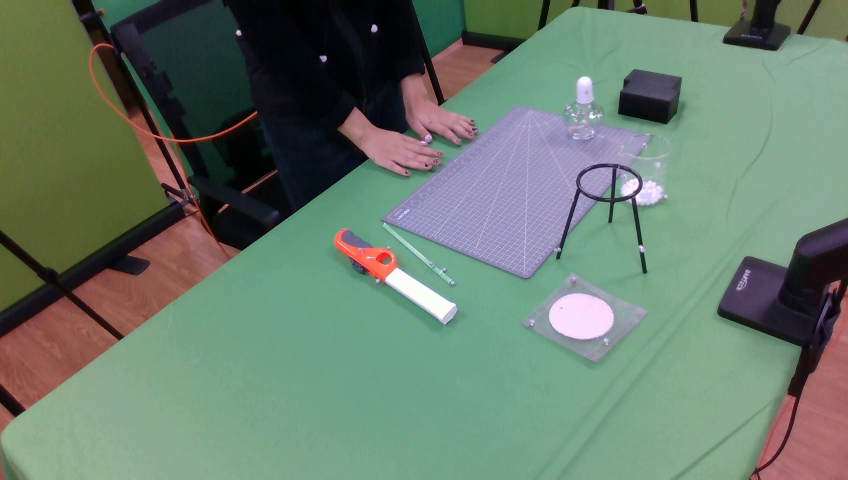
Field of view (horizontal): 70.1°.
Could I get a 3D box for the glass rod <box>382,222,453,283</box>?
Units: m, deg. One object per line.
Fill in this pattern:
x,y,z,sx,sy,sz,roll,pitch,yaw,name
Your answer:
-0.014,0.016,0.976,0.008,0.008,0.198,-30,44,-22,glass rod

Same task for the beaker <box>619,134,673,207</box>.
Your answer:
0.356,-0.111,0.986,0.084,0.101,0.073,-10,40,1,beaker

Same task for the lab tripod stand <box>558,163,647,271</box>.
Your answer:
0.271,-0.034,0.885,0.148,0.132,0.147,-4,40,4,lab tripod stand

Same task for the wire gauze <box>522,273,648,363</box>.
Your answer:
0.220,0.105,0.828,0.125,0.011,0.120,-35,47,-30,wire gauze

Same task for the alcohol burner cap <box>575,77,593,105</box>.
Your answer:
0.297,-0.279,1.124,0.034,0.048,0.033,-8,41,8,alcohol burner cap

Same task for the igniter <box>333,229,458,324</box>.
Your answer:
-0.055,0.049,0.929,0.057,0.025,0.274,-42,49,-20,igniter

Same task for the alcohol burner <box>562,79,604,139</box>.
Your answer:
0.303,-0.253,1.147,0.078,0.119,0.077,-4,41,4,alcohol burner
